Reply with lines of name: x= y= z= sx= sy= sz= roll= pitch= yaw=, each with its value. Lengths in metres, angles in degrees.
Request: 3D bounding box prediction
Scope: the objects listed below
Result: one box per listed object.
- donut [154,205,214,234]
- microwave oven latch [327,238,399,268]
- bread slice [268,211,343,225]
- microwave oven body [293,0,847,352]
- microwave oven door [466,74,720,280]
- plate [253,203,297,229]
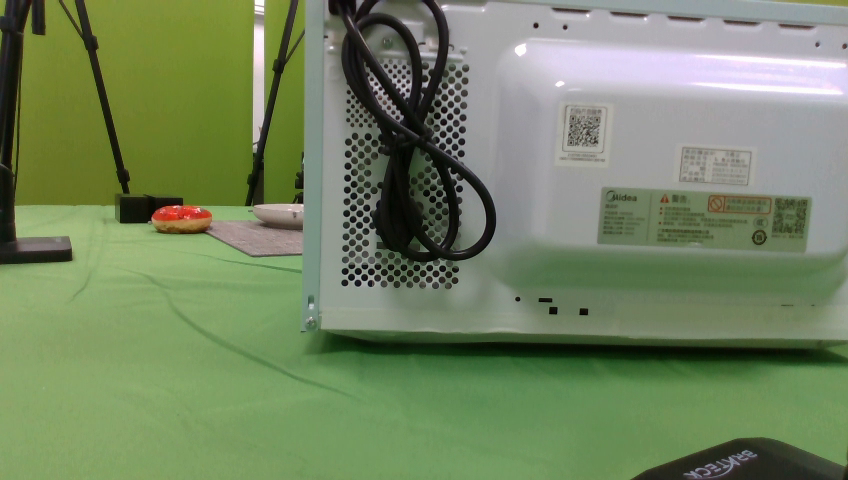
donut: x=-0.426 y=-0.037 z=1.075 sx=0.099 sy=0.048 sz=0.099 roll=2 pitch=12 yaw=0
microwave oven latch: x=-0.069 y=0.015 z=0.694 sx=0.079 sy=0.029 sz=0.030 roll=3 pitch=7 yaw=-3
bread slice: x=-0.244 y=-0.046 z=1.220 sx=0.104 sy=0.019 sz=0.132 roll=7 pitch=8 yaw=36
microwave oven body: x=0.122 y=-0.055 z=0.550 sx=0.442 sy=0.260 sz=0.325 roll=3 pitch=7 yaw=-5
microwave oven door: x=0.206 y=-0.092 z=0.828 sx=0.354 sy=0.243 sz=0.039 roll=9 pitch=10 yaw=44
plate: x=-0.238 y=-0.048 z=1.226 sx=0.208 sy=0.039 sz=0.207 roll=3 pitch=7 yaw=0
